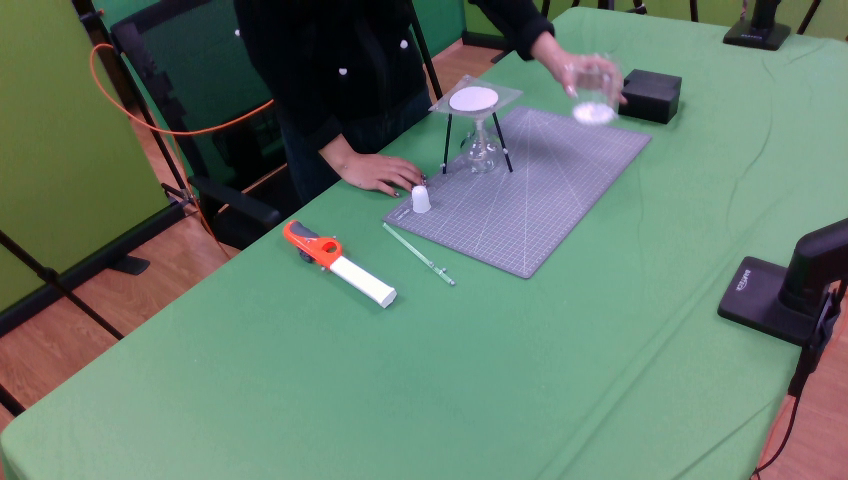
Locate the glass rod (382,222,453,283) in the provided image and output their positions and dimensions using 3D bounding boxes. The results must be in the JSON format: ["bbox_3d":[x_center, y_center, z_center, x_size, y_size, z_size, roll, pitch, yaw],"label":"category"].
[{"bbox_3d":[-0.014,0.016,0.976,0.008,0.008,0.198,-30,44,-22],"label":"glass rod"}]

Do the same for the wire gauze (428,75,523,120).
[{"bbox_3d":[0.090,-0.250,1.062,0.120,0.011,0.125,23,50,30],"label":"wire gauze"}]

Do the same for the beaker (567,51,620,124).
[{"bbox_3d":[0.277,-0.250,0.999,0.084,0.101,0.073,-9,37,-1],"label":"beaker"}]

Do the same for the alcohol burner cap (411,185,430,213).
[{"bbox_3d":[-0.008,-0.074,1.050,0.034,0.048,0.033,-4,40,4],"label":"alcohol burner cap"}]

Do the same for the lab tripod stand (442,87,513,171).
[{"bbox_3d":[0.097,-0.200,1.107,0.148,0.132,0.147,-4,40,4],"label":"lab tripod stand"}]

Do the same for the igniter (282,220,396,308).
[{"bbox_3d":[-0.146,0.032,0.966,0.274,0.025,0.057,30,65,37],"label":"igniter"}]

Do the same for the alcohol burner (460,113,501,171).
[{"bbox_3d":[0.102,-0.186,1.105,0.078,0.119,0.077,-4,42,5],"label":"alcohol burner"}]
